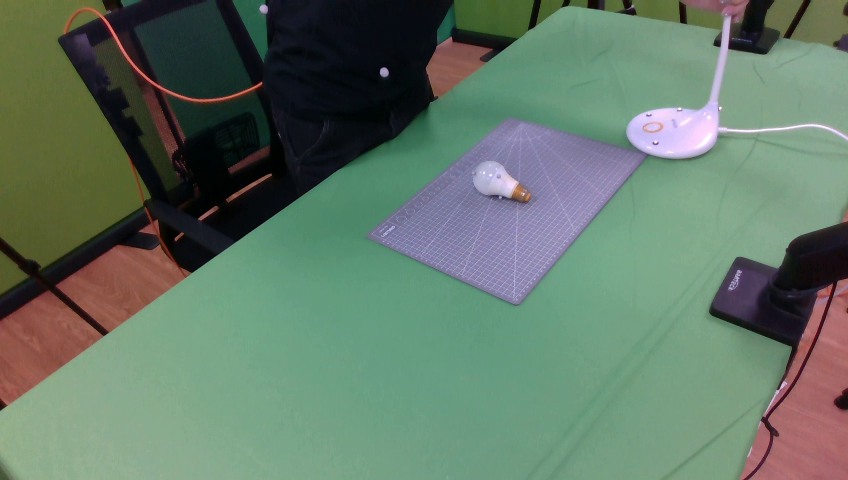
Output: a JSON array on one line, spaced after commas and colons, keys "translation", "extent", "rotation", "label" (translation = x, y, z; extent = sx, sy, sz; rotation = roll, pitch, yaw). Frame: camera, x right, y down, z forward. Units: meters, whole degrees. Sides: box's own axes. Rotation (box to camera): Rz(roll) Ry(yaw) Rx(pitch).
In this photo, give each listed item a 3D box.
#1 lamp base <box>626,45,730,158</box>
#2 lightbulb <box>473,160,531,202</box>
[{"translation": [0.468, -0.261, 1.085], "extent": [0.179, 0.181, 0.159], "rotation": [-5, 41, -2], "label": "lamp base"}, {"translation": [0.135, -0.097, 1.038], "extent": [0.107, 0.059, 0.059], "rotation": [29, 50, 15], "label": "lightbulb"}]
